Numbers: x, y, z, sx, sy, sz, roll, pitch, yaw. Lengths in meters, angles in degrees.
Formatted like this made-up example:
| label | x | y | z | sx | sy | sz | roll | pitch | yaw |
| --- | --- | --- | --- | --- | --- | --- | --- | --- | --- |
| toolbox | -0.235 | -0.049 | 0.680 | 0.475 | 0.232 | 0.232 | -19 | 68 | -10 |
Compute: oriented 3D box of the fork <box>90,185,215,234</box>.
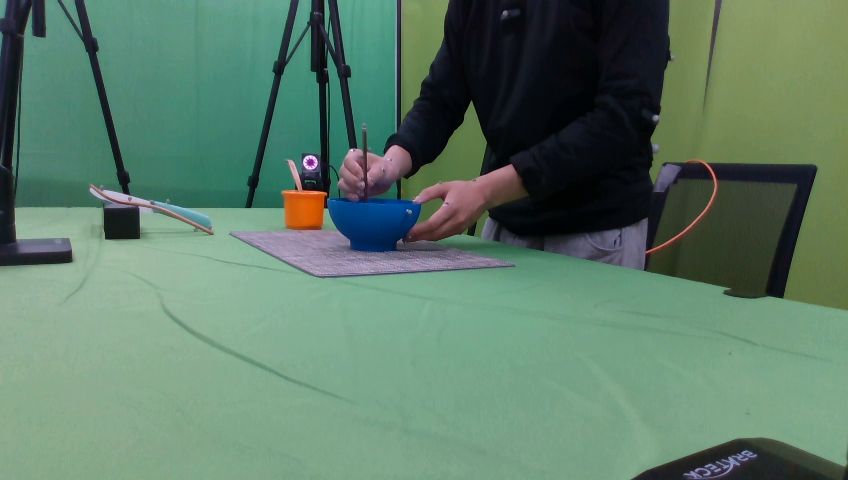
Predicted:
| label | x | y | z | sx | sy | sz | roll | pitch | yaw |
| --- | --- | --- | --- | --- | --- | --- | --- | --- | --- |
| fork | -0.452 | -0.049 | 1.018 | 0.208 | 0.018 | 0.028 | 21 | -7 | -33 |

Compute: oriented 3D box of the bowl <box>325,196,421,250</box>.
| label | x | y | z | sx | sy | sz | roll | pitch | yaw |
| --- | --- | --- | --- | --- | --- | --- | --- | --- | --- |
| bowl | -0.080 | -0.027 | 0.957 | 0.151 | 0.077 | 0.151 | 2 | 7 | 0 |

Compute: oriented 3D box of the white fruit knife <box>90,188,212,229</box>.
| label | x | y | z | sx | sy | sz | roll | pitch | yaw |
| --- | --- | --- | --- | --- | --- | --- | --- | --- | --- |
| white fruit knife | -0.478 | -0.058 | 1.073 | 0.208 | 0.027 | 0.016 | 17 | -4 | -30 |

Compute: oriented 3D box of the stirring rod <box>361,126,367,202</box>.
| label | x | y | z | sx | sy | sz | roll | pitch | yaw |
| --- | --- | --- | --- | --- | --- | --- | --- | --- | --- |
| stirring rod | -0.093 | -0.090 | 0.941 | 0.006 | 0.176 | 0.014 | -8 | 28 | -18 |

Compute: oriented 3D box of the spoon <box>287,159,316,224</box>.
| label | x | y | z | sx | sy | sz | roll | pitch | yaw |
| --- | --- | --- | --- | --- | --- | --- | --- | --- | --- |
| spoon | -0.261 | -0.104 | 1.264 | 0.042 | 0.193 | 0.021 | -1 | -37 | -28 |
